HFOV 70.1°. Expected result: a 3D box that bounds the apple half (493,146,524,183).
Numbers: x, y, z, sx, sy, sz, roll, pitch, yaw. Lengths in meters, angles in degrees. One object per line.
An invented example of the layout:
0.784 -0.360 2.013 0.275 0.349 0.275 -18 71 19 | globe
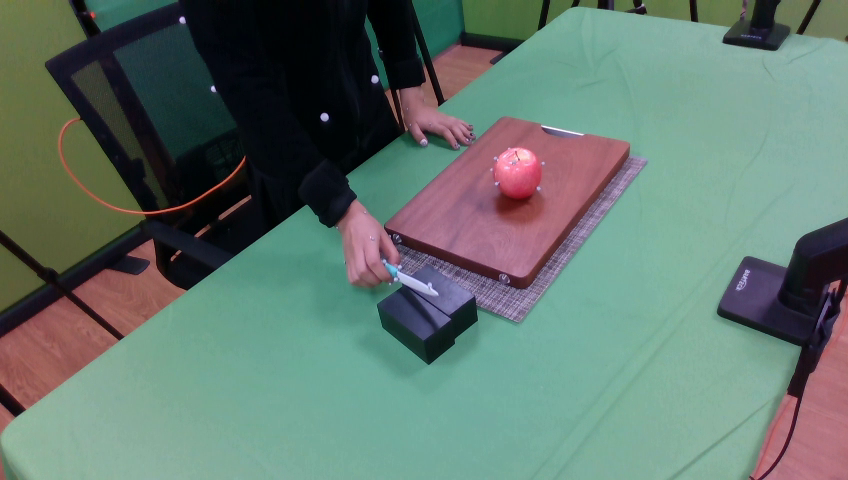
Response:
0.139 -0.122 1.015 0.081 0.081 0.032 -34 50 -25 | apple half

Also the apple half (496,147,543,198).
0.164 -0.104 0.991 0.081 0.075 0.053 -31 48 -28 | apple half

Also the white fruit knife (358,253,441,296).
-0.039 0.047 0.856 0.016 0.027 0.205 -38 31 -24 | white fruit knife
